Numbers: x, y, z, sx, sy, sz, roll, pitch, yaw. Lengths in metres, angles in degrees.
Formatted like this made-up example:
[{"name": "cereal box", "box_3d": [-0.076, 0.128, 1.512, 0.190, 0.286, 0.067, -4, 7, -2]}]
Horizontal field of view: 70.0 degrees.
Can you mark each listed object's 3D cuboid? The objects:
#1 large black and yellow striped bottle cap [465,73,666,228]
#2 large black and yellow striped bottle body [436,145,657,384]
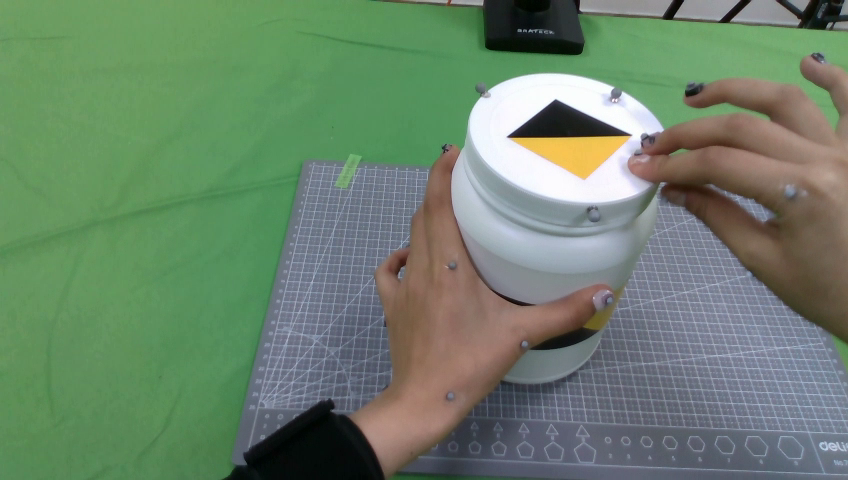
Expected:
[{"name": "large black and yellow striped bottle cap", "box_3d": [0.081, -0.056, 0.350, 0.115, 0.019, 0.114, 2, 51, -2]}, {"name": "large black and yellow striped bottle body", "box_3d": [0.077, 0.000, 0.414, 0.131, 0.185, 0.129, 2, 49, -2]}]
